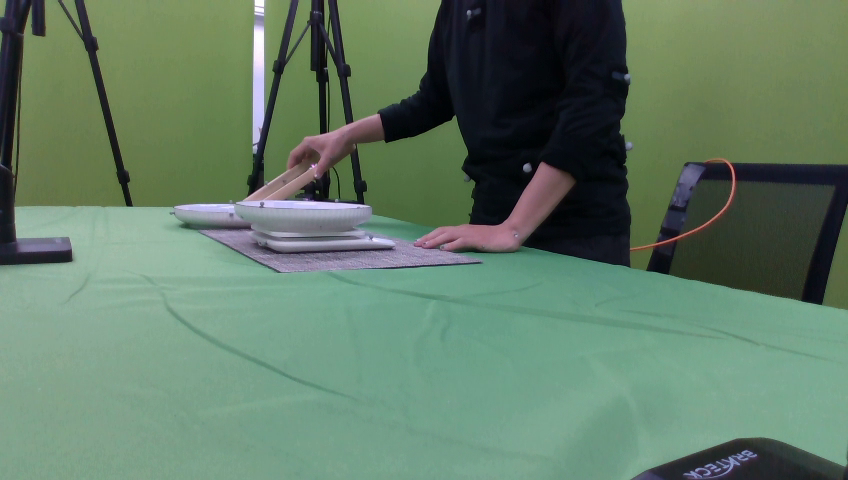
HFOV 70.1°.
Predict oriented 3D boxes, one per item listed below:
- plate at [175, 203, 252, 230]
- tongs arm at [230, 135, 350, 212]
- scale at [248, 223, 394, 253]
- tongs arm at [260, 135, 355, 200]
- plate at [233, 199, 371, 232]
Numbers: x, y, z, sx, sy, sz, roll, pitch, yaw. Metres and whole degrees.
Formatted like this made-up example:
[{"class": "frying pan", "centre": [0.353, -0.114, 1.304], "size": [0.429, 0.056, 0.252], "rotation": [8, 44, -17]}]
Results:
[{"class": "plate", "centre": [-0.381, -0.047, 1.199], "size": [0.208, 0.039, 0.207], "rotation": [2, 7, 0]}, {"class": "tongs arm", "centre": [-0.285, -0.150, 1.358], "size": [0.050, 0.026, 0.385], "rotation": [0, 31, 31]}, {"class": "scale", "centre": [-0.162, -0.006, 0.954], "size": [0.202, 0.031, 0.148], "rotation": [-2, 8, -32]}, {"class": "tongs arm", "centre": [-0.259, -0.148, 1.341], "size": [0.028, 0.028, 0.388], "rotation": [-2, 29, 35]}, {"class": "plate", "centre": [-0.188, -0.039, 0.939], "size": [0.209, 0.038, 0.209], "rotation": [2, 7, 0]}]
